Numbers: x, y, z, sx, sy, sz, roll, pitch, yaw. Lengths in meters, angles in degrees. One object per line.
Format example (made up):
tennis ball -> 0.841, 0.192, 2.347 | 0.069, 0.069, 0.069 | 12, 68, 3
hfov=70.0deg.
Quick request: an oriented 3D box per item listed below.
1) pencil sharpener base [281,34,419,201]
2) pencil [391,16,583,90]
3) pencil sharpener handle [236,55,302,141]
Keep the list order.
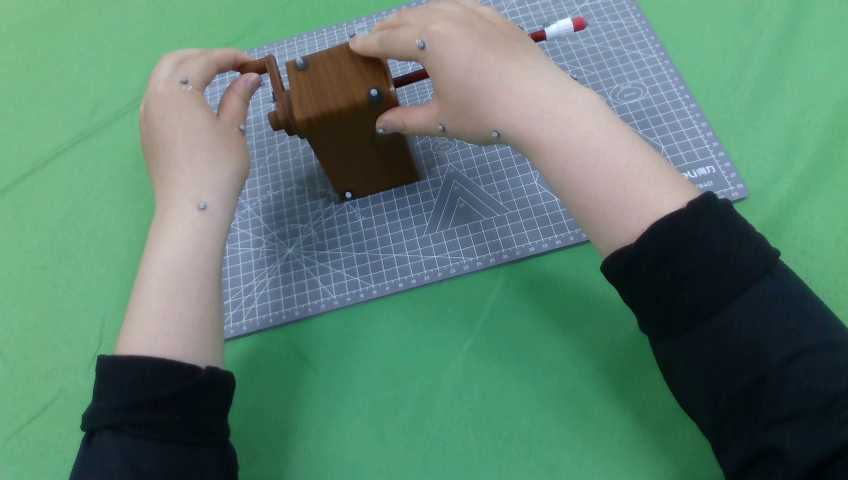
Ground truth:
pencil sharpener base -> -0.054, -0.087, 0.456 | 0.077, 0.108, 0.061 | -18, 60, 2
pencil -> 0.019, -0.124, 0.429 | 0.194, 0.012, 0.012 | -18, 60, 2
pencil sharpener handle -> -0.112, -0.099, 0.436 | 0.030, 0.036, 0.067 | -18, 80, 2
